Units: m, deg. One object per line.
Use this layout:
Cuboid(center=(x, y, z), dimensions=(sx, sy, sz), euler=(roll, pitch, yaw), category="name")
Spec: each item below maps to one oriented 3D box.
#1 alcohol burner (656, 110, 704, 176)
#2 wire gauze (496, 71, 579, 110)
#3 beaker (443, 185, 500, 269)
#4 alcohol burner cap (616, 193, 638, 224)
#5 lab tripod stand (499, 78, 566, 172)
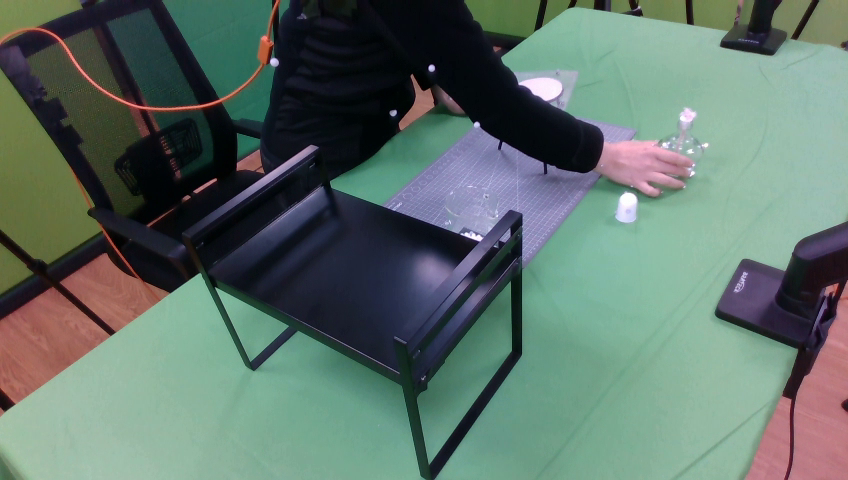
Cuboid(center=(0.441, -0.170, 1.037), dimensions=(0.078, 0.119, 0.077), euler=(-3, 40, 3), category="alcohol burner")
Cuboid(center=(0.200, -0.268, 1.065), dimensions=(0.124, 0.011, 0.121), euler=(10, 44, 22), category="wire gauze")
Cuboid(center=(0.071, -0.015, 0.845), dimensions=(0.074, 0.101, 0.083), euler=(-35, 48, -28), category="beaker")
Cuboid(center=(0.327, -0.053, 0.974), dimensions=(0.034, 0.048, 0.033), euler=(-4, 38, 3), category="alcohol burner cap")
Cuboid(center=(0.204, -0.216, 1.107), dimensions=(0.148, 0.132, 0.147), euler=(-6, 41, 5), category="lab tripod stand")
